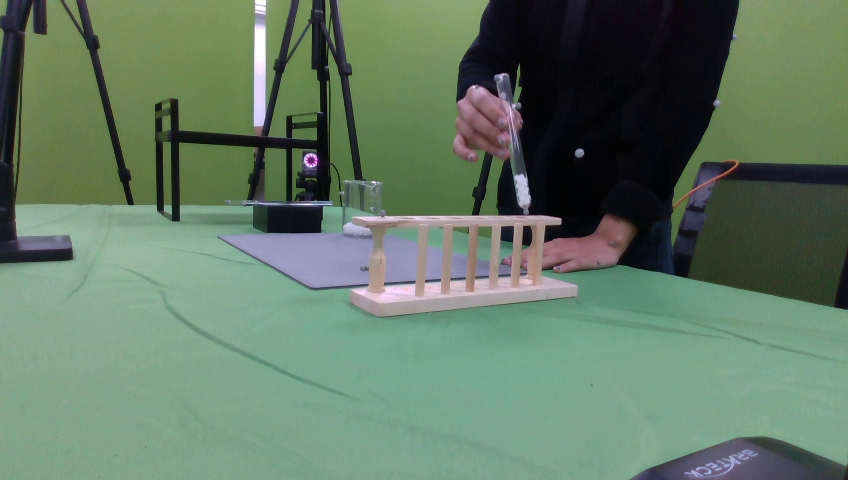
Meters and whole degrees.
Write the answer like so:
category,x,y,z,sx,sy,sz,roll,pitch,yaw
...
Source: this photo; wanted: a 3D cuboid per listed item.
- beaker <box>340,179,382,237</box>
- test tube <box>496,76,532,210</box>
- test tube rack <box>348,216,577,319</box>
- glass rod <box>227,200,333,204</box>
category,x,y,z,sx,sy,sz,roll,pitch,yaw
beaker,-0.113,-0.058,1.094,0.074,0.100,0.083,-2,9,-29
test tube,0.100,-0.107,0.665,0.017,0.150,0.017,-10,-3,0
test tube rack,0.048,0.021,0.619,0.244,0.085,0.066,-2,9,-31
glass rod,-0.268,-0.071,1.143,0.201,0.008,0.008,-1,8,-29
